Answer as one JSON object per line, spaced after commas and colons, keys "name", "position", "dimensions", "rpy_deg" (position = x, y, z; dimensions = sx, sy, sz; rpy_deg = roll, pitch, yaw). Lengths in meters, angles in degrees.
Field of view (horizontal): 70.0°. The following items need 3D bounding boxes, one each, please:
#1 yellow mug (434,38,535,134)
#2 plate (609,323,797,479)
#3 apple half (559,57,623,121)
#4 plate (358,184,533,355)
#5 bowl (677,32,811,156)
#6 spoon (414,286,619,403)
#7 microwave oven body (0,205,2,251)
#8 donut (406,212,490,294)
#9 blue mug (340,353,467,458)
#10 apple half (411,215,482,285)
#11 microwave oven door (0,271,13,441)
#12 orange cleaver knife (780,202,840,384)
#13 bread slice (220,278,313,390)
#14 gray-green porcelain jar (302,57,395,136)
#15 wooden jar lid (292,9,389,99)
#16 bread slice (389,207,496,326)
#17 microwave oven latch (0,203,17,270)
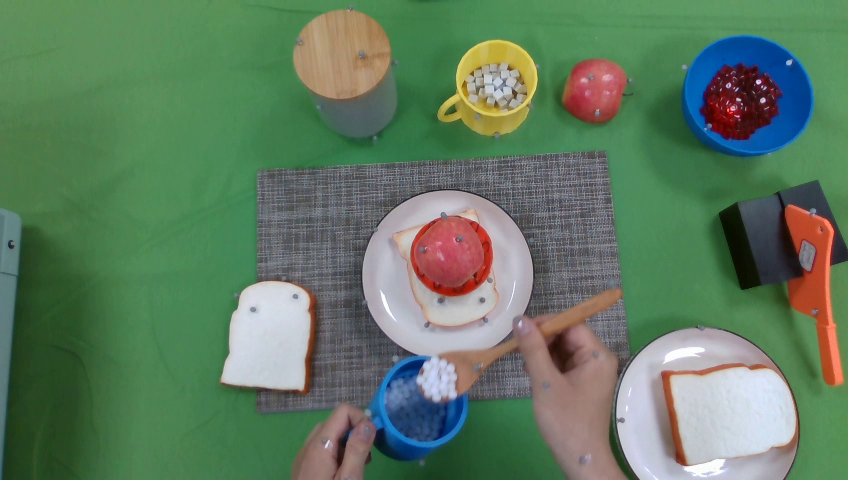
{"name": "yellow mug", "position": [0.072, -0.186, 0.763], "dimensions": [0.131, 0.064, 0.099], "rpy_deg": [-27, 79, -3]}
{"name": "plate", "position": [0.315, 0.200, 0.697], "dimensions": [0.209, 0.038, 0.208], "rpy_deg": [0, 79, 2]}
{"name": "apple half", "position": [0.214, -0.198, 0.769], "dimensions": [0.074, 0.053, 0.080], "rpy_deg": [19, 81, 8]}
{"name": "plate", "position": [0.026, 0.037, 0.732], "dimensions": [0.207, 0.039, 0.206], "rpy_deg": [0, 79, 2]}
{"name": "bowl", "position": [0.377, -0.167, 0.745], "dimensions": [0.151, 0.077, 0.150], "rpy_deg": [0, 79, 2]}
{"name": "spoon", "position": [0.074, 0.087, 0.509], "dimensions": [0.193, 0.022, 0.041], "rpy_deg": [-30, 78, 21]}
{"name": "microwave oven body", "position": [-0.662, 0.158, 0.612], "dimensions": [0.326, 0.261, 0.439], "rpy_deg": [-3, 79, 1]}
{"name": "donut", "position": [0.029, 0.015, 0.707], "dimensions": [0.099, 0.048, 0.098], "rpy_deg": [0, 79, 2]}
{"name": "blue mug", "position": [-0.026, 0.168, 0.583], "dimensions": [0.117, 0.106, 0.082], "rpy_deg": [-19, 71, -20]}
{"name": "apple half", "position": [0.026, 0.010, 0.672], "dimensions": [0.081, 0.033, 0.081], "rpy_deg": [-1, 81, 8]}
{"name": "microwave oven door", "position": [-0.516, 0.191, 0.597], "dimensions": [0.039, 0.245, 0.354], "rpy_deg": [-3, 79, 1]}
{"name": "orange cleaver knife", "position": [0.443, 0.061, 0.698], "dimensions": [0.012, 0.077, 0.212], "rpy_deg": [-14, 101, -8]}
{"name": "bread slice", "position": [-0.189, 0.112, 0.734], "dimensions": [0.105, 0.019, 0.131], "rpy_deg": [4, 80, 2]}
{"name": "gray-green porcelain jar", "position": [-0.091, -0.192, 0.738], "dimensions": [0.106, 0.127, 0.105], "rpy_deg": [0, 78, 2]}
{"name": "wooden jar lid", "position": [-0.093, -0.205, 0.677], "dimensions": [0.108, 0.021, 0.108], "rpy_deg": [0, 77, 2]}
{"name": "bread slice", "position": [0.030, 0.035, 0.733], "dimensions": [0.107, 0.018, 0.133], "rpy_deg": [-20, 79, -2]}
{"name": "microwave oven latch", "position": [-0.520, -0.004, 0.738], "dimensions": [0.030, 0.029, 0.079], "rpy_deg": [0, 80, 1]}
